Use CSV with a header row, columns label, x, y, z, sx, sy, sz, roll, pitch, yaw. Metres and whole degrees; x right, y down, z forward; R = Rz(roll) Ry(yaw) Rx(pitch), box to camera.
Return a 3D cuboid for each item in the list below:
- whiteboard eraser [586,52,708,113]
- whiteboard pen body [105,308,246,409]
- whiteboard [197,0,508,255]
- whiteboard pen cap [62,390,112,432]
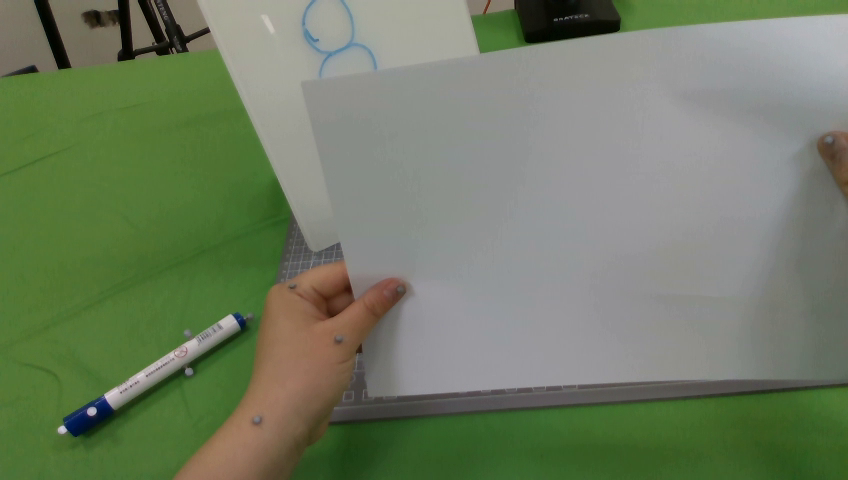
label,x,y,z,sx,sy,sz,roll,pitch,yaw
whiteboard eraser,0.232,-0.164,0.635,0.113,0.042,0.055,-8,47,2
whiteboard pen body,-0.203,0.097,0.474,0.141,0.017,0.017,-35,50,-23
whiteboard,-0.080,-0.183,0.569,0.217,0.308,0.142,-26,27,-14
whiteboard pen cap,-0.248,0.126,0.450,0.033,0.018,0.018,-34,49,-24
